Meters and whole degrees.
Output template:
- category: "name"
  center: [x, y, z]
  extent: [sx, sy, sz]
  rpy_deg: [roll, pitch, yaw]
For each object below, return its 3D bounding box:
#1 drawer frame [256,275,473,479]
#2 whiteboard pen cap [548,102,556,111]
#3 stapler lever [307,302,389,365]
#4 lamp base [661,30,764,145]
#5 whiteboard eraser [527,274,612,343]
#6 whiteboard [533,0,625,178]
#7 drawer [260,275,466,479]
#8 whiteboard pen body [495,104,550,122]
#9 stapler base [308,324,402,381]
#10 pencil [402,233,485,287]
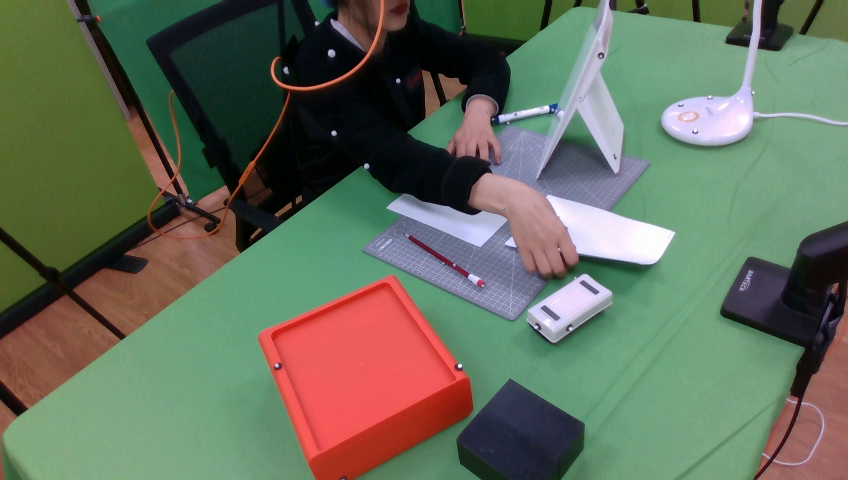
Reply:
- category: "drawer frame"
  center: [-0.078, 0.164, 0.756]
  extent: [0.202, 0.083, 0.211]
  rpy_deg: [-23, 43, -17]
- category: "whiteboard pen cap"
  center: [0.273, -0.278, 1.259]
  extent: [0.033, 0.018, 0.018]
  rpy_deg: [-10, 40, -5]
- category: "stapler lever"
  center: [-0.101, 0.121, 0.799]
  extent: [0.118, 0.040, 0.026]
  rpy_deg: [-26, 29, -17]
- category: "lamp base"
  center: [0.535, -0.287, 1.096]
  extent: [0.179, 0.181, 0.159]
  rpy_deg: [-10, 40, -4]
- category: "whiteboard eraser"
  center: [0.198, 0.094, 0.820]
  extent: [0.113, 0.042, 0.055]
  rpy_deg: [-29, 43, -22]
- category: "whiteboard"
  center: [0.321, -0.258, 1.049]
  extent: [0.144, 0.306, 0.217]
  rpy_deg: [20, 45, 4]
- category: "drawer"
  center: [-0.080, 0.163, 0.760]
  extent: [0.195, 0.073, 0.210]
  rpy_deg: [-22, 42, -16]
- category: "whiteboard pen body"
  center: [0.216, -0.267, 1.255]
  extent: [0.141, 0.017, 0.017]
  rpy_deg: [-13, 40, -5]
- category: "stapler base"
  center: [-0.094, 0.142, 0.812]
  extent: [0.131, 0.024, 0.041]
  rpy_deg: [-25, 29, -18]
- category: "pencil"
  center: [0.026, 0.027, 0.949]
  extent: [0.012, 0.012, 0.192]
  rpy_deg: [-34, 44, -26]
